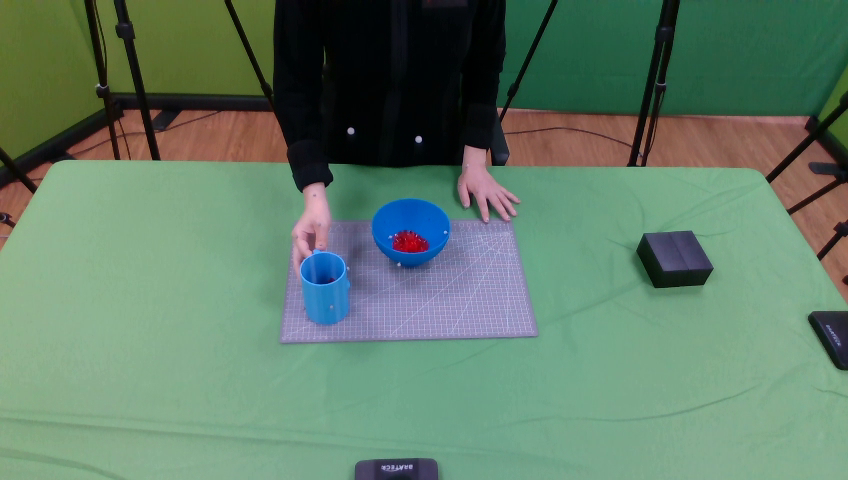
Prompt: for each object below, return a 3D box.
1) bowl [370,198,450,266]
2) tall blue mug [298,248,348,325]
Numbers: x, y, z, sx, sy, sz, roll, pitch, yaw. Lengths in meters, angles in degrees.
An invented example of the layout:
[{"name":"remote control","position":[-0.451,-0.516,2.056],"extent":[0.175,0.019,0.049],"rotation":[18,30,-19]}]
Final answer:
[{"name":"bowl","position":[-0.028,-0.003,1.155],"extent":[0.151,0.077,0.150],"rotation":[2,46,-2]},{"name":"tall blue mug","position":[-0.183,0.075,1.047],"extent":[0.106,0.108,0.078],"rotation":[37,55,27]}]
